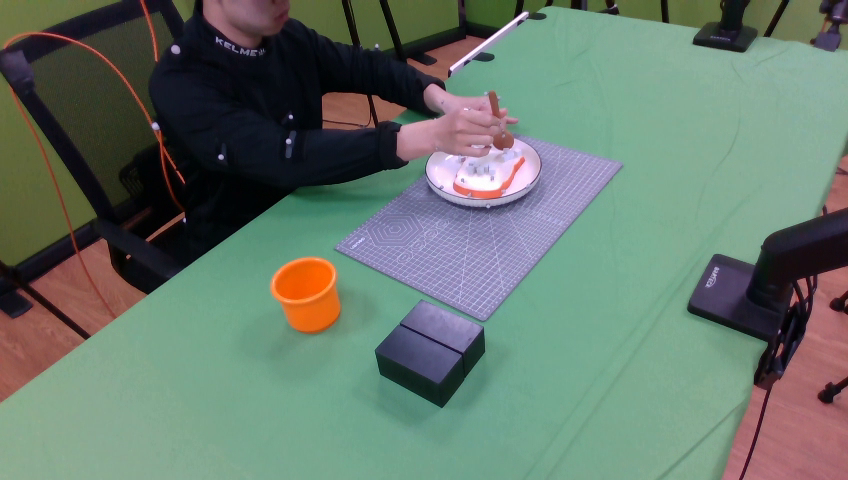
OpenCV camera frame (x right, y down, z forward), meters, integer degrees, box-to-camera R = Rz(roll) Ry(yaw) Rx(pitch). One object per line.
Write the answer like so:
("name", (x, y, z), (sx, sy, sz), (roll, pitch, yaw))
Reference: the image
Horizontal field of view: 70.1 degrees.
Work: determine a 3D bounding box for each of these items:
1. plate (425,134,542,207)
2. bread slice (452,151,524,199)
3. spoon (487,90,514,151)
("plate", (0.106, -0.121, 1.079), (0.209, 0.038, 0.208), (-4, 40, 4))
("bread slice", (0.112, -0.118, 1.079), (0.104, 0.019, 0.131), (11, 42, 21))
("spoon", (0.126, -0.198, 1.017), (0.041, 0.195, 0.021), (2, 76, 13))
